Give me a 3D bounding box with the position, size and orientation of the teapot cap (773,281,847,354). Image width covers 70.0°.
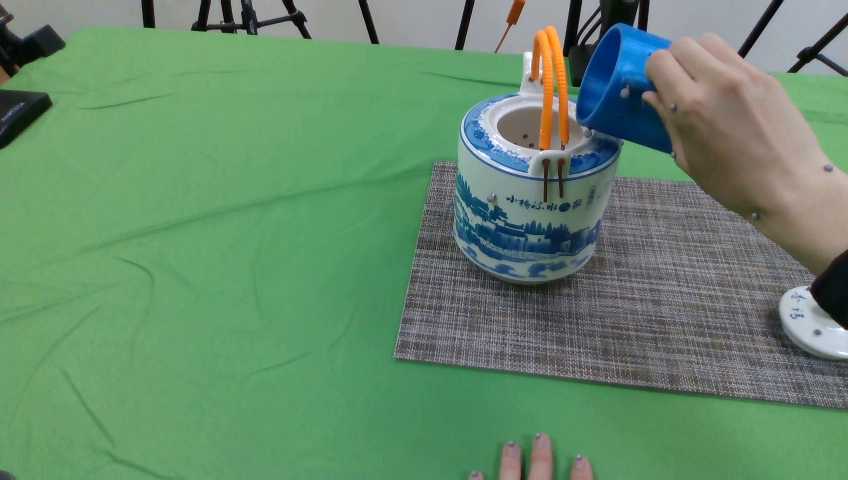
[{"bbox_3d":[0.360,0.064,0.543,0.085,0.044,0.084,3,42,-2],"label":"teapot cap"}]

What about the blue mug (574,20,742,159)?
[{"bbox_3d":[0.184,-0.116,0.474,0.106,0.082,0.116,17,14,-6],"label":"blue mug"}]

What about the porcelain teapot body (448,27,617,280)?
[{"bbox_3d":[0.098,-0.099,0.577,0.145,0.227,0.203,1,43,-1],"label":"porcelain teapot body"}]
